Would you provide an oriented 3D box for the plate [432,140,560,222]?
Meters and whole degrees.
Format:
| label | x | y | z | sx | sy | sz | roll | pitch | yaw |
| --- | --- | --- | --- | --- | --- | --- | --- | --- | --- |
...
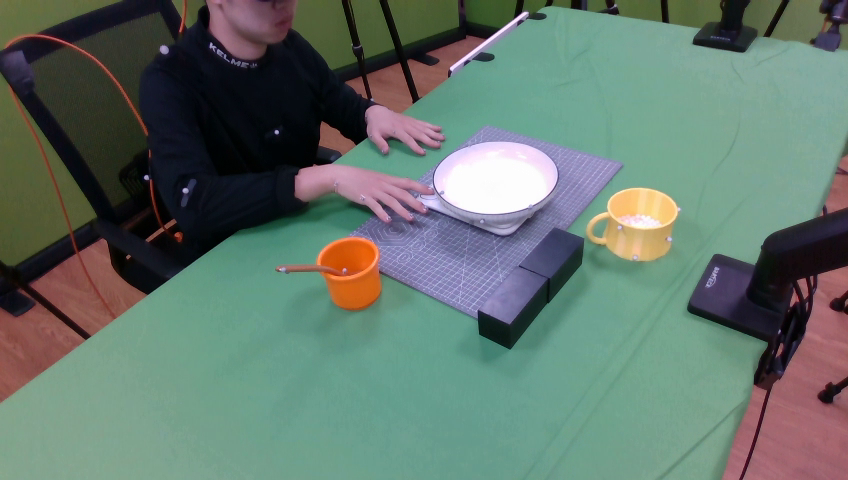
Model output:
| label | x | y | z | sx | sy | sz | roll | pitch | yaw |
| --- | --- | --- | --- | --- | --- | --- | --- | --- | --- |
| plate | 0.118 | -0.094 | 0.999 | 0.209 | 0.038 | 0.208 | -4 | 41 | 4 |

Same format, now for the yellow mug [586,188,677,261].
| label | x | y | z | sx | sy | sz | roll | pitch | yaw |
| --- | --- | --- | --- | --- | --- | --- | --- | --- | --- |
| yellow mug | 0.311 | -0.022 | 0.916 | 0.131 | 0.064 | 0.099 | -8 | 40 | 0 |

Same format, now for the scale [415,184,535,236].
| label | x | y | z | sx | sy | sz | roll | pitch | yaw |
| --- | --- | --- | --- | --- | --- | --- | --- | --- | --- |
| scale | 0.099 | -0.080 | 1.036 | 0.199 | 0.032 | 0.149 | 23 | 48 | 31 |

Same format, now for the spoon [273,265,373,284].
| label | x | y | z | sx | sy | sz | roll | pitch | yaw |
| --- | --- | --- | --- | --- | --- | --- | --- | --- | --- |
| spoon | -0.136 | 0.045 | 0.839 | 0.041 | 0.195 | 0.021 | 18 | 91 | 33 |
